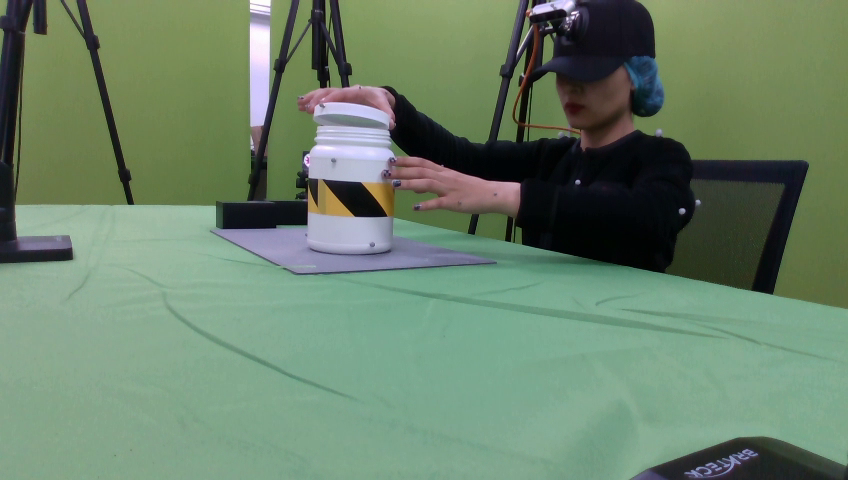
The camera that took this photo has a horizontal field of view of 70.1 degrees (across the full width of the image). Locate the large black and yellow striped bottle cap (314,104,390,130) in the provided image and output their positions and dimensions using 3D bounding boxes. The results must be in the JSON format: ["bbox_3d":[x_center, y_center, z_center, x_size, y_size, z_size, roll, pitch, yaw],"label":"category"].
[{"bbox_3d":[-0.109,-0.184,0.914,0.115,0.019,0.115,4,-1,0],"label":"large black and yellow striped bottle cap"}]

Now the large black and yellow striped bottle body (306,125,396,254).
[{"bbox_3d":[-0.109,-0.077,0.913,0.131,0.184,0.130,3,7,0],"label":"large black and yellow striped bottle body"}]
